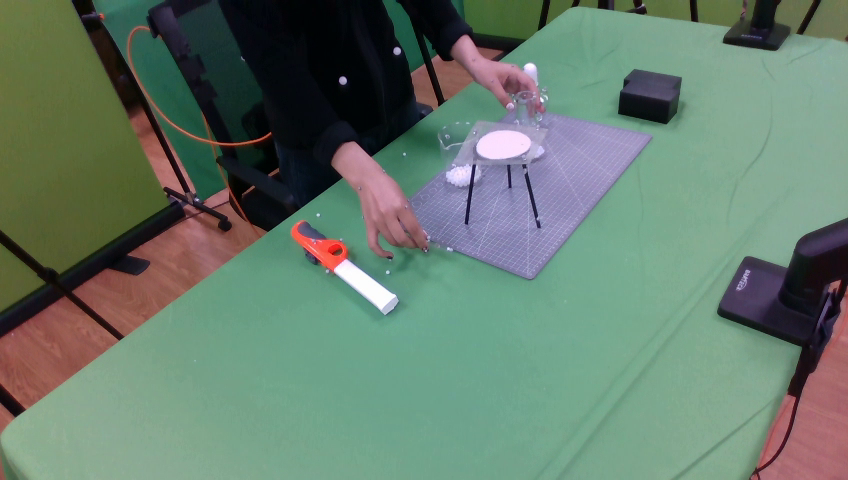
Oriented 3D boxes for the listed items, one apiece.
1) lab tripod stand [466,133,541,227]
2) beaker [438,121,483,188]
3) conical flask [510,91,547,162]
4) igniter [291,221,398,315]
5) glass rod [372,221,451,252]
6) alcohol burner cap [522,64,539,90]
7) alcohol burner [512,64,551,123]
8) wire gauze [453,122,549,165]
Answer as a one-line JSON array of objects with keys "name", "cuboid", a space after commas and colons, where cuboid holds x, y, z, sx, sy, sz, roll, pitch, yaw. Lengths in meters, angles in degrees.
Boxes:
[{"name": "lab tripod stand", "cuboid": [0.130, -0.099, 0.985, 0.148, 0.132, 0.147, -6, 39, 6]}, {"name": "beaker", "cuboid": [0.066, -0.149, 1.084, 0.073, 0.101, 0.084, 20, 49, 31]}, {"name": "conical flask", "cuboid": [0.189, -0.212, 1.116, 0.075, 0.122, 0.075, -6, 40, 5]}, {"name": "igniter", "cuboid": [-0.136, 0.037, 0.962, 0.057, 0.025, 0.274, -41, 48, -18]}, {"name": "glass rod", "cuboid": [-0.025, -0.008, 0.979, 0.008, 0.008, 0.198, -37, 35, -28]}, {"name": "alcohol burner cap", "cuboid": [0.210, -0.324, 1.195, 0.034, 0.048, 0.033, -7, 45, 7]}, {"name": "alcohol burner", "cuboid": [0.215, -0.298, 1.220, 0.078, 0.120, 0.077, -7, 40, 7]}, {"name": "wire gauze", "cuboid": [0.121, -0.150, 0.942, 0.121, 0.011, 0.125, 8, 42, 21]}]
